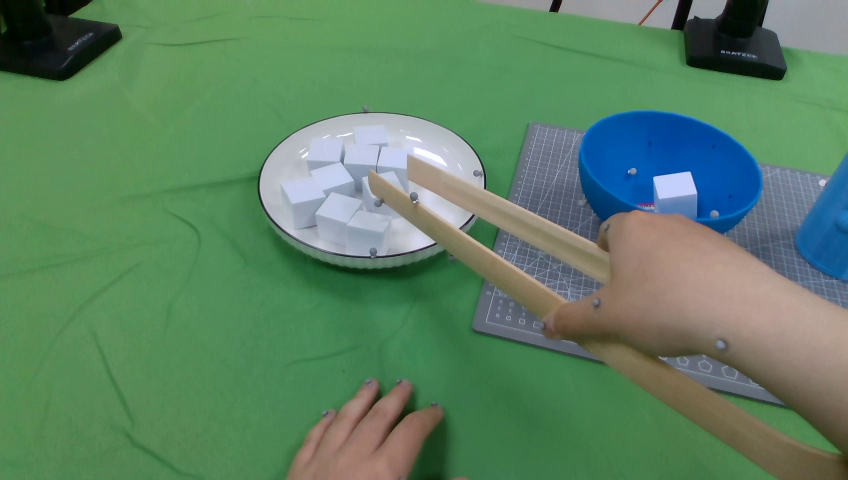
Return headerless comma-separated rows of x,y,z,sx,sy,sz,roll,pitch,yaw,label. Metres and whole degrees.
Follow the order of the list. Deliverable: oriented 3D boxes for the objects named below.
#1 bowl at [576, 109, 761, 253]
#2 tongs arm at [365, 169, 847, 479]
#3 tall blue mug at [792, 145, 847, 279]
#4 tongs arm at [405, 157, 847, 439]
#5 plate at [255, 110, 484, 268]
0.204,-0.042,0.538,0.151,0.077,0.150,1,46,-1,bowl
0.076,0.025,0.389,0.051,0.027,0.380,-19,36,-28,tongs arm
0.389,-0.024,0.507,0.106,0.109,0.077,21,48,18,tall blue mug
0.098,0.016,0.403,0.028,0.028,0.383,-18,35,-33,tongs arm
-0.049,-0.048,0.564,0.209,0.038,0.207,2,46,-2,plate
